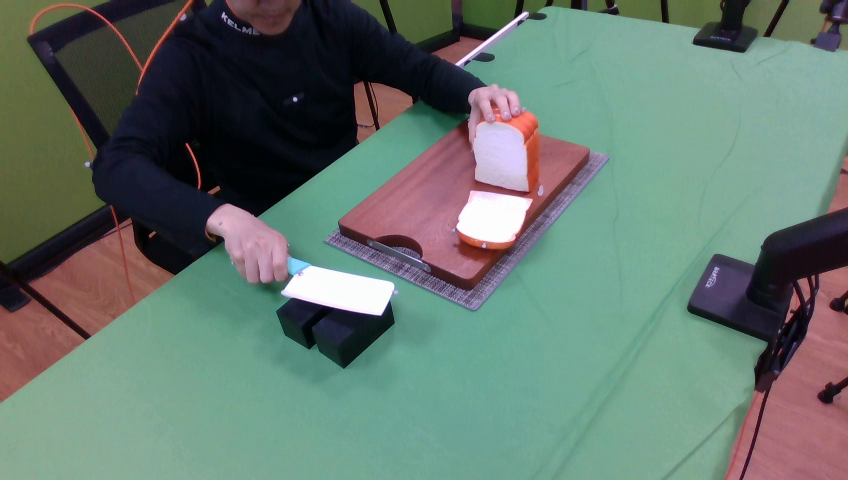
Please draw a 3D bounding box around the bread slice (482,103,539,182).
[{"bbox_3d":[0.145,-0.163,1.008,0.106,0.135,0.018,25,51,24],"label":"bread slice"}]

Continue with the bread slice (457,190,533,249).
[{"bbox_3d":[0.106,-0.032,0.944,0.104,0.019,0.131,11,40,16],"label":"bread slice"}]

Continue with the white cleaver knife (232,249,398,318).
[{"bbox_3d":[-0.166,0.057,0.849,0.284,0.022,0.066,10,49,29],"label":"white cleaver knife"}]
